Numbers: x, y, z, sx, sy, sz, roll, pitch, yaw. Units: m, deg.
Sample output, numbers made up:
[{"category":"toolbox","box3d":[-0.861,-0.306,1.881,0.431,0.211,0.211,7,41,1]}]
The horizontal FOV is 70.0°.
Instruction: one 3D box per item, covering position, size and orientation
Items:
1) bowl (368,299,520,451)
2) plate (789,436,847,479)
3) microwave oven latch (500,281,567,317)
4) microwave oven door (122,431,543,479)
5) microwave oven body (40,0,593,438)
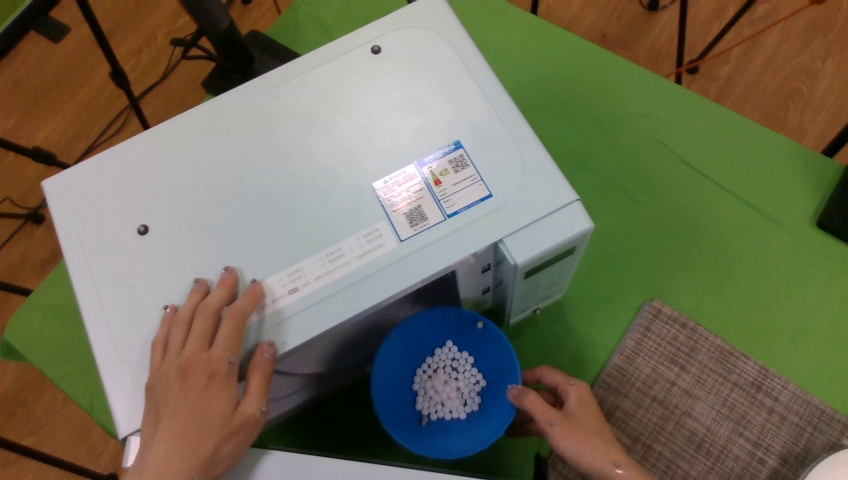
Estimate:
[{"category":"bowl","box3d":[0.021,0.145,0.629,0.151,0.077,0.150,-1,67,3]},{"category":"plate","box3d":[0.471,0.307,0.620,0.207,0.039,0.206,-2,70,5]},{"category":"microwave oven latch","box3d":[0.131,0.062,0.725,0.079,0.030,0.030,-26,70,-4]},{"category":"microwave oven door","box3d":[-0.057,0.219,0.577,0.355,0.245,0.039,5,71,7]},{"category":"microwave oven body","box3d":[-0.103,-0.009,0.669,0.442,0.262,0.323,-28,70,-4]}]
